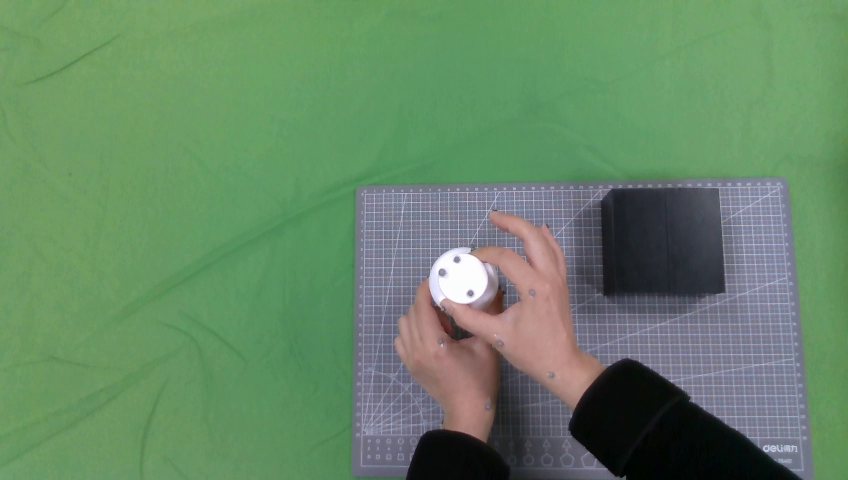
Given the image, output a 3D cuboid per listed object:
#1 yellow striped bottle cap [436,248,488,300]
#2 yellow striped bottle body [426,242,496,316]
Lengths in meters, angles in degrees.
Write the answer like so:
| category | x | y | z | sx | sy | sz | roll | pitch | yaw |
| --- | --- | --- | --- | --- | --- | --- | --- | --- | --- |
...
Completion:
| category | x | y | z | sx | sy | sz | roll | pitch | yaw |
| --- | --- | --- | --- | --- | --- | --- | --- | --- | --- |
| yellow striped bottle cap | 0.033 | 0.029 | 0.520 | 0.044 | 0.019 | 0.044 | -1 | 84 | 7 |
| yellow striped bottle body | 0.035 | 0.038 | 0.571 | 0.063 | 0.120 | 0.062 | 0 | 80 | 3 |
